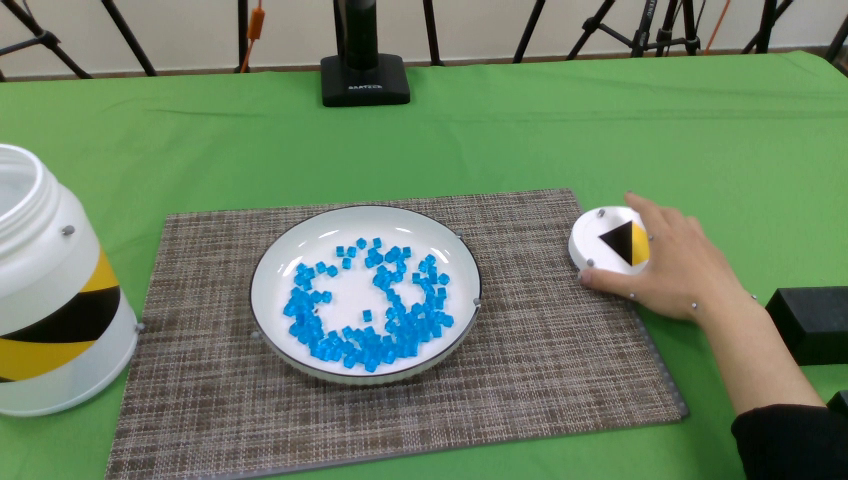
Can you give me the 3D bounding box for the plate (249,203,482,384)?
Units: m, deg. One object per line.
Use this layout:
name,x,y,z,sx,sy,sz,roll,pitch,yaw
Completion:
plate,-0.051,0.046,0.555,0.208,0.039,0.205,2,44,-1

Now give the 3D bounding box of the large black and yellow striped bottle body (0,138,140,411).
large black and yellow striped bottle body,-0.309,0.029,0.459,0.131,0.185,0.129,1,45,-1

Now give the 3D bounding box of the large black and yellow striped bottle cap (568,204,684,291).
large black and yellow striped bottle cap,0.208,0.005,0.624,0.115,0.019,0.114,3,44,-2
